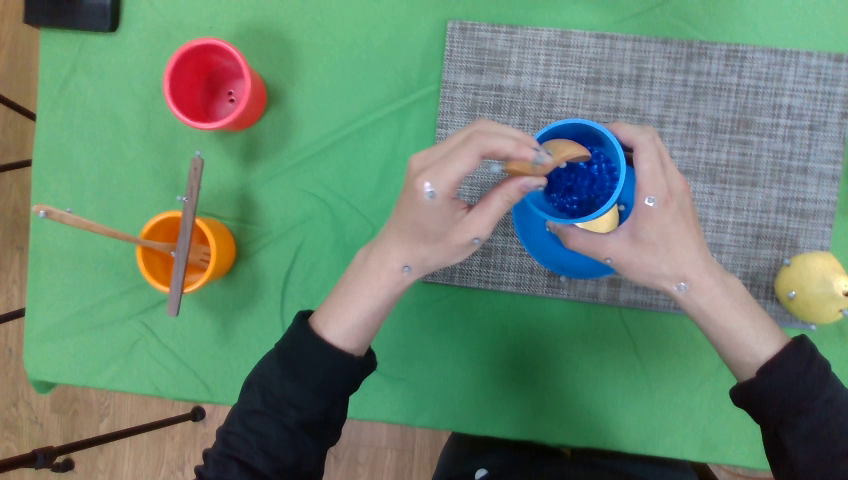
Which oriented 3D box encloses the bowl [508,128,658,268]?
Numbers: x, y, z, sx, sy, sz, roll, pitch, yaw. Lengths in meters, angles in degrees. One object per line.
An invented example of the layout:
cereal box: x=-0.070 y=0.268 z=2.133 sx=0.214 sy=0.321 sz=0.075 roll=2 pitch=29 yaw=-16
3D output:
bowl: x=0.164 y=-0.048 z=0.652 sx=0.151 sy=0.077 sz=0.151 roll=0 pitch=94 yaw=5

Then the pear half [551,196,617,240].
pear half: x=0.170 y=-0.045 z=0.645 sx=0.070 sy=0.031 sz=0.088 roll=-14 pitch=87 yaw=2

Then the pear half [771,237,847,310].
pear half: x=0.399 y=0.037 z=0.624 sx=0.056 sy=0.110 sz=0.076 roll=-13 pitch=89 yaw=6

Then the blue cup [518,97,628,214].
blue cup: x=0.137 y=-0.063 z=0.525 sx=0.092 sy=0.100 sz=0.092 roll=1 pitch=91 yaw=25

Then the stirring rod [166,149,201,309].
stirring rod: x=-0.261 y=-0.011 z=0.656 sx=0.014 sy=0.006 sz=0.176 roll=11 pitch=95 yaw=1

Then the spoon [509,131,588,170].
spoon: x=0.089 y=-0.061 z=0.425 sx=0.041 sy=0.193 sz=0.022 roll=16 pitch=110 yaw=17

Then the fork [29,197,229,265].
fork: x=-0.313 y=-0.009 z=0.662 sx=0.209 sy=0.018 sz=0.028 roll=21 pitch=107 yaw=-40
